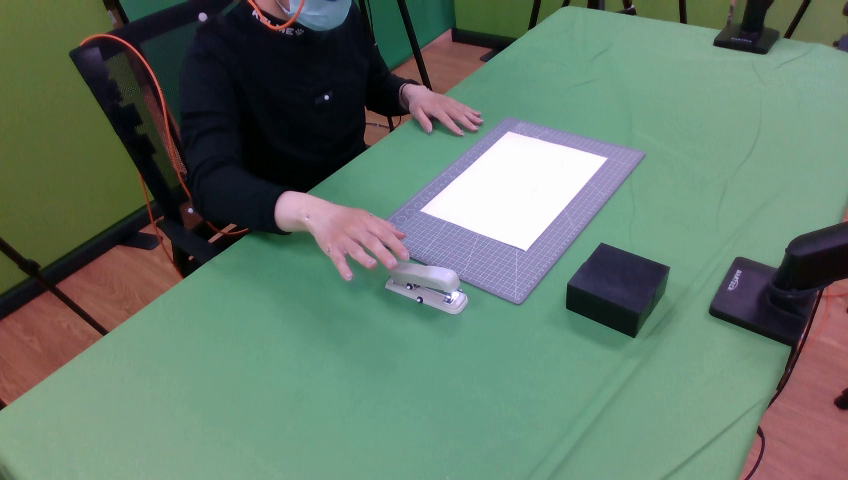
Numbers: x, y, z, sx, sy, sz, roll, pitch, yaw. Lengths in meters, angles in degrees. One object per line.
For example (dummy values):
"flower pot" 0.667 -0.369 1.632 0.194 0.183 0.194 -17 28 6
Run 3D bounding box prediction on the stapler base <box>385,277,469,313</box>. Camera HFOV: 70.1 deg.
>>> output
"stapler base" 0.003 0.069 0.889 0.129 0.024 0.041 18 43 28

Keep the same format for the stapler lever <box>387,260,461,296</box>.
"stapler lever" -0.002 0.050 0.873 0.117 0.040 0.027 17 44 28
